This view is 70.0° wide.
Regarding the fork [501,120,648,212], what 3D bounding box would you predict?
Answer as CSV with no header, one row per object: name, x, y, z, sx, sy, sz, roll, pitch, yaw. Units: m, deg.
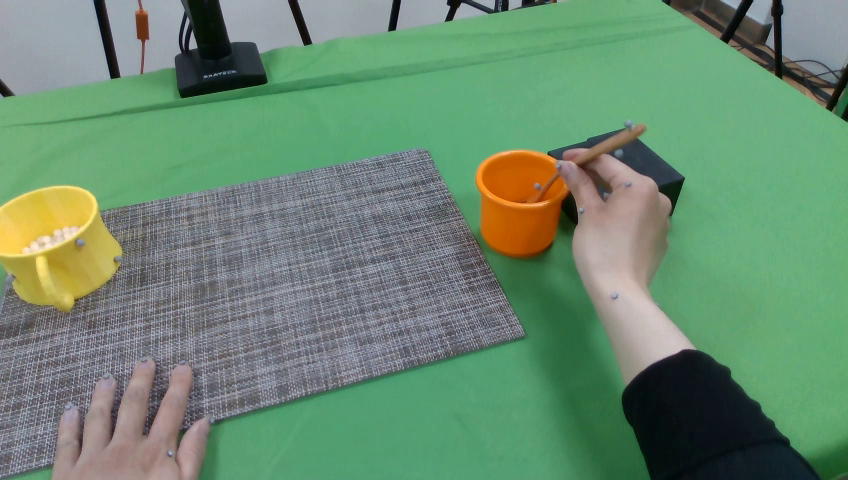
fork,0.127,-0.062,0.550,0.019,0.207,0.028,37,64,-7

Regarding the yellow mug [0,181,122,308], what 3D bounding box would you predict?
yellow mug,-0.344,0.009,0.566,0.100,0.064,0.129,-18,47,-16
